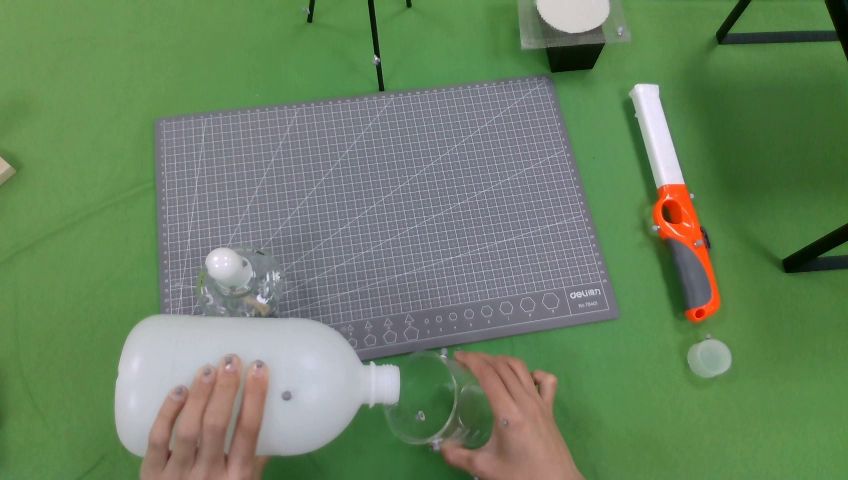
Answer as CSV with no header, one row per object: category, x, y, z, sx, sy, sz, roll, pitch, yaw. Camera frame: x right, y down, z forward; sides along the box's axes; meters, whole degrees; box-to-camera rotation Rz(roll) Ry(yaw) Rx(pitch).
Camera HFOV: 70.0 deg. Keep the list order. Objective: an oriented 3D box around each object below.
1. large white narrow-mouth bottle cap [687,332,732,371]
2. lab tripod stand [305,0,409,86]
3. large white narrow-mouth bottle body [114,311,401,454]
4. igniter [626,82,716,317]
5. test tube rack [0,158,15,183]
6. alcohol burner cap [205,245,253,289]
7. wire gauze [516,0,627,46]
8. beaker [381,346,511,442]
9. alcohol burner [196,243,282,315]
large white narrow-mouth bottle cap,0.285,0.111,0.605,0.038,0.024,0.037,1,69,-3
lab tripod stand,-0.065,-0.264,0.657,0.148,0.132,0.147,2,70,-5
large white narrow-mouth bottle body,-0.115,0.106,0.455,0.195,0.102,0.101,3,69,-11
igniter,0.266,-0.051,0.659,0.057,0.025,0.274,-1,70,-15
test tube rack,-0.526,-0.021,0.562,0.066,0.085,0.242,38,72,10
alcohol burner cap,-0.168,0.022,0.515,0.034,0.048,0.033,0,75,-1
wire gauze,0.163,-0.274,0.691,0.121,0.011,0.124,-1,70,-4
beaker,0.022,0.139,0.529,0.084,0.101,0.073,-20,62,32
alcohol burner,-0.171,0.033,0.549,0.078,0.120,0.077,2,68,-5
